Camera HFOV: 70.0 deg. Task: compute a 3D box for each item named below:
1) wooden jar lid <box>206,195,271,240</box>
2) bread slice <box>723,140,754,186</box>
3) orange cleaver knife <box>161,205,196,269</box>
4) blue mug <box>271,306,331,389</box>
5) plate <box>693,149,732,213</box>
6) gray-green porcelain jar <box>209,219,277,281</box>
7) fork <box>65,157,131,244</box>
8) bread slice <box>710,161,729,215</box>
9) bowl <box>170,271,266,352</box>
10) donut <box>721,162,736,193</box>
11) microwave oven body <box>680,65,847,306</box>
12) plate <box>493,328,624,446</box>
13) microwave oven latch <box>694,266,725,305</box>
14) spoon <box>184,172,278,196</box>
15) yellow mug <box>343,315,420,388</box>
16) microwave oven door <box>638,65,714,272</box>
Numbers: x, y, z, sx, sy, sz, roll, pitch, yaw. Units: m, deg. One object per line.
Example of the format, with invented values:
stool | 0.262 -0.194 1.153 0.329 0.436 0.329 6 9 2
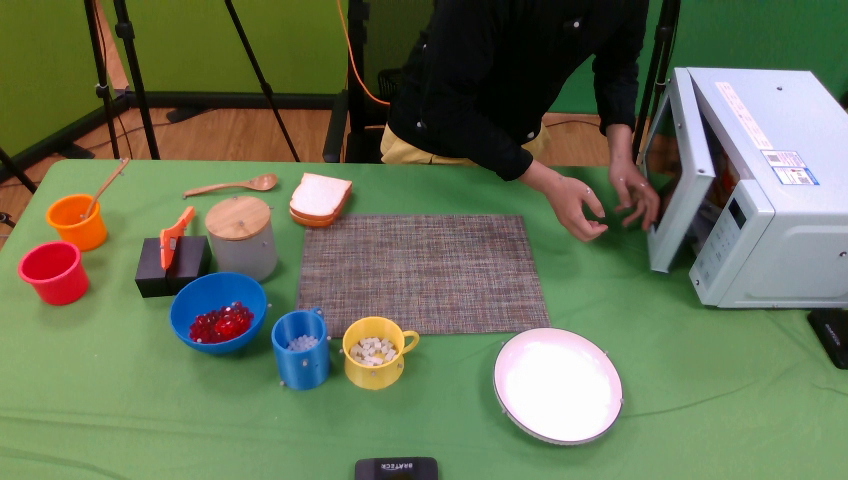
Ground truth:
wooden jar lid | -0.319 -0.036 1.046 0.108 0.021 0.107 1 44 0
bread slice | 0.661 -0.147 1.200 0.107 0.018 0.133 0 54 10
orange cleaver knife | -0.454 -0.010 1.129 0.012 0.077 0.210 -2 20 -5
blue mug | -0.188 0.163 0.969 0.082 0.106 0.116 15 47 10
plate | 0.652 -0.109 1.238 0.209 0.038 0.208 -1 47 1
gray-green porcelain jar | -0.323 0.007 1.092 0.106 0.127 0.105 2 46 -2
fork | -0.608 -0.074 1.133 0.207 0.019 0.028 -52 51 10
bread slice | 0.653 -0.106 1.259 0.105 0.019 0.131 9 67 9
bowl | -0.333 0.132 1.006 0.151 0.077 0.150 2 46 -2
donut | 0.649 -0.125 1.214 0.099 0.048 0.098 -4 55 5
microwave oven body | 0.669 -0.111 1.176 0.326 0.261 0.439 0 46 -3
plate | 0.213 0.236 0.974 0.208 0.039 0.206 2 46 -2
microwave oven latch | 0.523 0.082 1.115 0.030 0.029 0.078 3 46 0
spoon | -0.405 -0.117 1.275 0.194 0.022 0.041 -8 65 -12
yellow mug | -0.067 0.177 0.990 0.131 0.064 0.099 -16 50 -19
microwave oven door | 0.487 -0.149 1.193 0.039 0.245 0.354 9 47 4
